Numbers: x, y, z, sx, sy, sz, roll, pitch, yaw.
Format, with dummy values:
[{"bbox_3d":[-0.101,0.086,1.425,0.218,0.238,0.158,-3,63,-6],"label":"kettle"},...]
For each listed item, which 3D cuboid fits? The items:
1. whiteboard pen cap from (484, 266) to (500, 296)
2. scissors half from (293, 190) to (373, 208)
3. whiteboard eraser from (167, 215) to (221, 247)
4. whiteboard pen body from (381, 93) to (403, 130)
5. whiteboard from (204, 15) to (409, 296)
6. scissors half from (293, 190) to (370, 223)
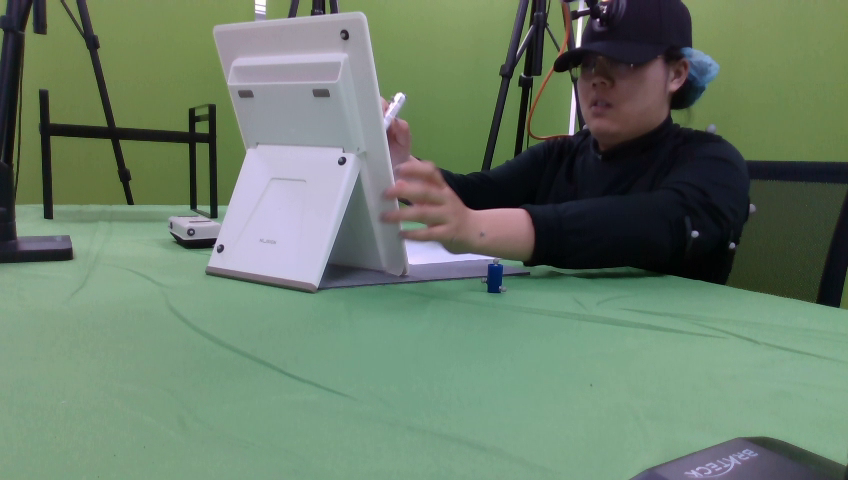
[{"bbox_3d":[0.075,0.046,0.668,0.018,0.033,0.018,2,5,0],"label":"whiteboard pen cap"},{"bbox_3d":[-0.201,-0.096,1.333,0.175,0.040,0.013,5,18,-4],"label":"scissors half"},{"bbox_3d":[-0.350,-0.014,0.920,0.056,0.042,0.112,0,7,-35],"label":"whiteboard eraser"},{"bbox_3d":[-0.052,-0.176,0.848,0.017,0.017,0.141,4,34,11],"label":"whiteboard pen body"},{"bbox_3d":[-0.166,-0.072,0.669,0.216,0.305,0.144,8,30,30],"label":"whiteboard"},{"bbox_3d":[-0.205,-0.078,1.338,0.175,0.040,0.013,22,11,-8],"label":"scissors half"}]
